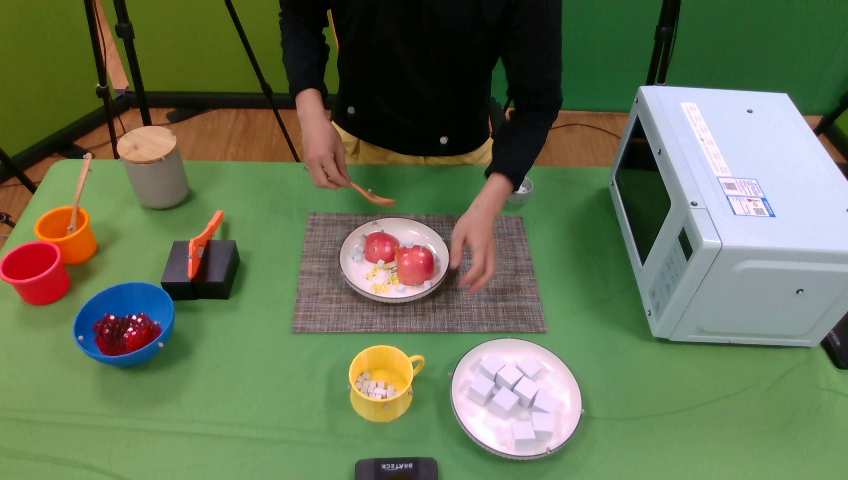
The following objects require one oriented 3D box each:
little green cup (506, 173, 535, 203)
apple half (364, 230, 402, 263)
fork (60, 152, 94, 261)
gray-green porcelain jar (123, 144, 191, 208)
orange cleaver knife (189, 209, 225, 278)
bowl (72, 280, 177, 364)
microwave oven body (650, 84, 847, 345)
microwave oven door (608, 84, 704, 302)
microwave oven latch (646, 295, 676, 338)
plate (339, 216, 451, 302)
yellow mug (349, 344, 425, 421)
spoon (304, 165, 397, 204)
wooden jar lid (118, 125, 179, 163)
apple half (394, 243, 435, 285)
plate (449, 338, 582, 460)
[{"bbox_3d":[0.205,-0.111,1.303,0.061,0.039,0.061,1,46,-1],"label":"little green cup"},{"bbox_3d":[-0.079,0.004,1.159,0.081,0.033,0.081,2,50,-3],"label":"apple half"},{"bbox_3d":[-0.638,-0.063,1.119,0.028,0.018,0.207,12,90,7],"label":"fork"},{"bbox_3d":[-0.530,-0.137,1.213,0.106,0.127,0.105,2,46,-2],"label":"gray-green porcelain jar"},{"bbox_3d":[-0.400,0.002,1.122,0.012,0.077,0.210,4,23,-4],"label":"orange cleaver knife"},{"bbox_3d":[-0.472,0.147,0.982,0.151,0.077,0.150,2,46,-2],"label":"bowl"},{"bbox_3d":[0.569,-0.054,1.116,0.326,0.261,0.439,2,46,-1],"label":"microwave oven body"},{"bbox_3d":[0.425,-0.096,1.138,0.039,0.245,0.353,2,47,-1],"label":"microwave oven door"},{"bbox_3d":[0.413,0.133,1.060,0.030,0.029,0.078,4,46,1],"label":"microwave oven latch"},{"bbox_3d":[-0.054,0.038,1.138,0.209,0.038,0.208,2,46,-2],"label":"plate"},{"bbox_3d":[-0.054,0.217,0.954,0.131,0.064,0.099,-24,53,-25],"label":"yellow mug"},{"bbox_3d":[-0.139,-0.106,1.124,0.193,0.021,0.041,26,14,14],"label":"spoon"},{"bbox_3d":[-0.528,-0.181,1.167,0.108,0.021,0.107,4,48,-4],"label":"wooden jar lid"},{"bbox_3d":[-0.017,0.037,1.121,0.075,0.053,0.080,1,46,-7],"label":"apple half"},{"bbox_3d":[0.141,0.251,0.955,0.208,0.039,0.206,2,47,-2],"label":"plate"}]
